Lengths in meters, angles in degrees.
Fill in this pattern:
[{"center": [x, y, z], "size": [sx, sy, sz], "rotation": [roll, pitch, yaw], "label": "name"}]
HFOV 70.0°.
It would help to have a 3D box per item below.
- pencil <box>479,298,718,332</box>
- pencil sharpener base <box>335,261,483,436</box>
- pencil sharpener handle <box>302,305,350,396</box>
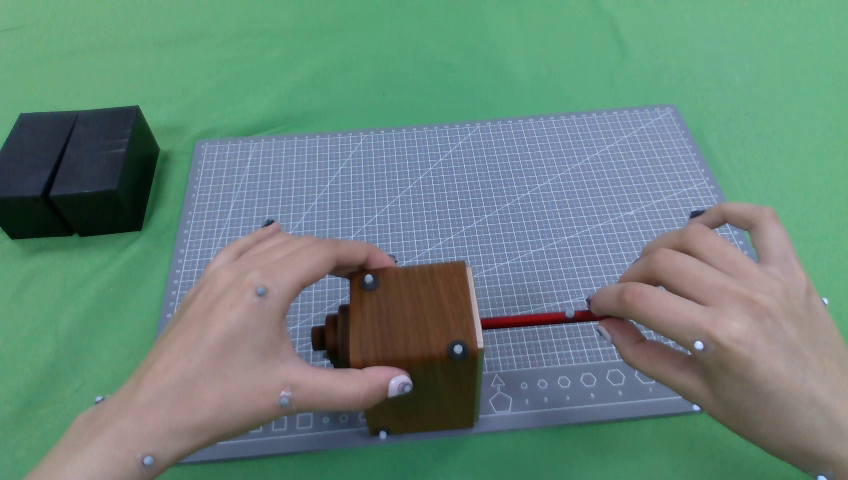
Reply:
[{"center": [0.071, 0.046, 0.345], "size": [0.194, 0.012, 0.012], "rotation": [-4, 51, -2], "label": "pencil"}, {"center": [-0.008, 0.069, 0.362], "size": [0.077, 0.108, 0.060], "rotation": [-5, 52, -2], "label": "pencil sharpener base"}, {"center": [-0.059, 0.068, 0.348], "size": [0.030, 0.068, 0.035], "rotation": [-5, 40, -1], "label": "pencil sharpener handle"}]
